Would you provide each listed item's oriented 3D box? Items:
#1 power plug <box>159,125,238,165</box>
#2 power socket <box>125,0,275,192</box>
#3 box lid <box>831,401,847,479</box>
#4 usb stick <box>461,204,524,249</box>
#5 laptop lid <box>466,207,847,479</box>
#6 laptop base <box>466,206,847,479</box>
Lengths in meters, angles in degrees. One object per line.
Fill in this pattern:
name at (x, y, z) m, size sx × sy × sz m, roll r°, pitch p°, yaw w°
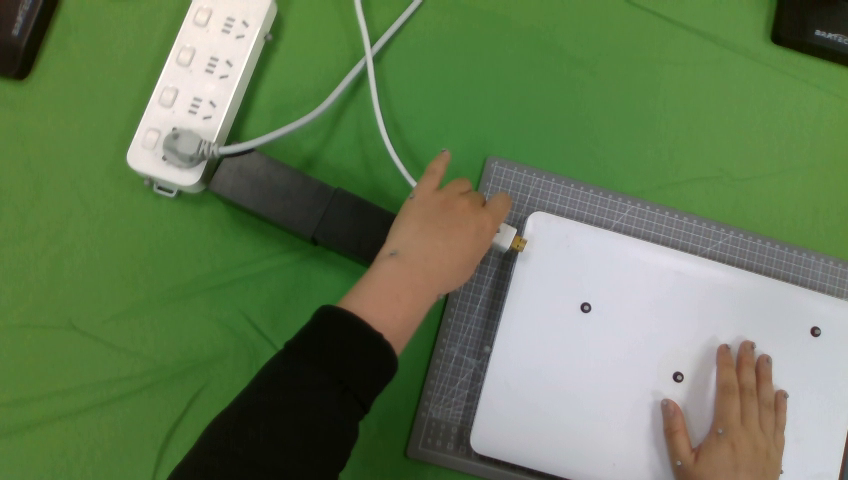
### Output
power plug at (-0.204, -0.076, 0.546) m, size 0.072 × 0.053 × 0.035 m, roll 32°, pitch 79°, yaw -2°
power socket at (-0.210, -0.155, 0.576) m, size 0.072 × 0.032 × 0.226 m, roll 19°, pitch 81°, yaw -3°
box lid at (0.507, 0.316, 0.588) m, size 0.264 × 0.015 × 0.370 m, roll 16°, pitch 81°, yaw -4°
usb stick at (0.065, -0.010, 0.564) m, size 0.059 × 0.027 × 0.021 m, roll 29°, pitch 88°, yaw 8°
laptop lid at (0.235, 0.126, 0.575) m, size 0.357 × 0.013 × 0.241 m, roll 18°, pitch 84°, yaw -3°
laptop base at (0.235, 0.125, 0.586) m, size 0.355 × 0.023 × 0.235 m, roll 16°, pitch 85°, yaw -3°
